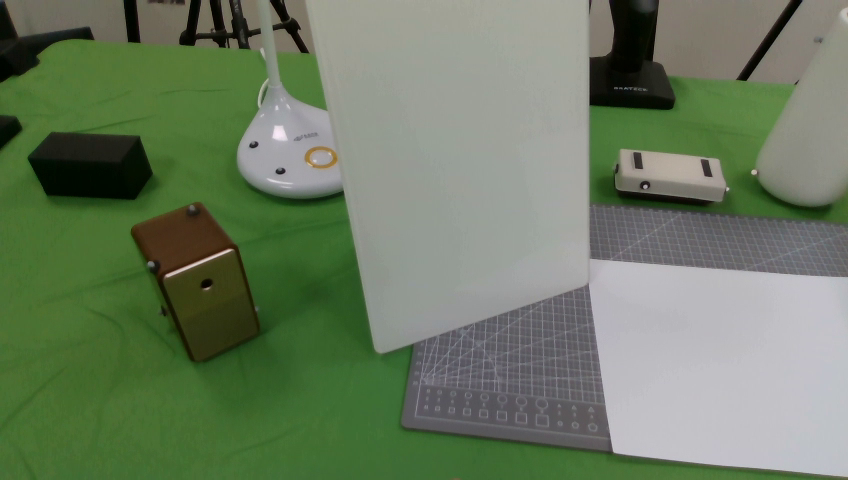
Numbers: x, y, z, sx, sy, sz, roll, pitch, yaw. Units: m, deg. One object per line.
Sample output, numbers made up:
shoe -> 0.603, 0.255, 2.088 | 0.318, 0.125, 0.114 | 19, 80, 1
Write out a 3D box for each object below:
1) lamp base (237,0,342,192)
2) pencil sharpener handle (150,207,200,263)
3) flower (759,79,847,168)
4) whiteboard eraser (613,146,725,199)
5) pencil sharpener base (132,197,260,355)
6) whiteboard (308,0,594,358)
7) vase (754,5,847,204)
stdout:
lamp base -> -0.144, -0.171, 0.664 | 0.161, 0.182, 0.177 | -31, 49, -30
pencil sharpener handle -> -0.216, -0.008, 0.524 | 0.036, 0.068, 0.030 | -33, 52, -20
flower -> 0.435, -0.184, 0.560 | 0.044, 0.363, 0.038 | -12, 61, -23
whiteboard eraser -> 0.269, -0.073, 0.673 | 0.112, 0.042, 0.055 | 6, 41, 6
pencil sharpener base -> -0.187, 0.029, 0.502 | 0.061, 0.108, 0.076 | -27, 49, -26
whiteboard -> 0.017, -0.090, 0.532 | 0.218, 0.307, 0.142 | -15, 26, -16
vase -> 0.426, -0.134, 0.628 | 0.098, 0.202, 0.097 | 2, 43, -1
